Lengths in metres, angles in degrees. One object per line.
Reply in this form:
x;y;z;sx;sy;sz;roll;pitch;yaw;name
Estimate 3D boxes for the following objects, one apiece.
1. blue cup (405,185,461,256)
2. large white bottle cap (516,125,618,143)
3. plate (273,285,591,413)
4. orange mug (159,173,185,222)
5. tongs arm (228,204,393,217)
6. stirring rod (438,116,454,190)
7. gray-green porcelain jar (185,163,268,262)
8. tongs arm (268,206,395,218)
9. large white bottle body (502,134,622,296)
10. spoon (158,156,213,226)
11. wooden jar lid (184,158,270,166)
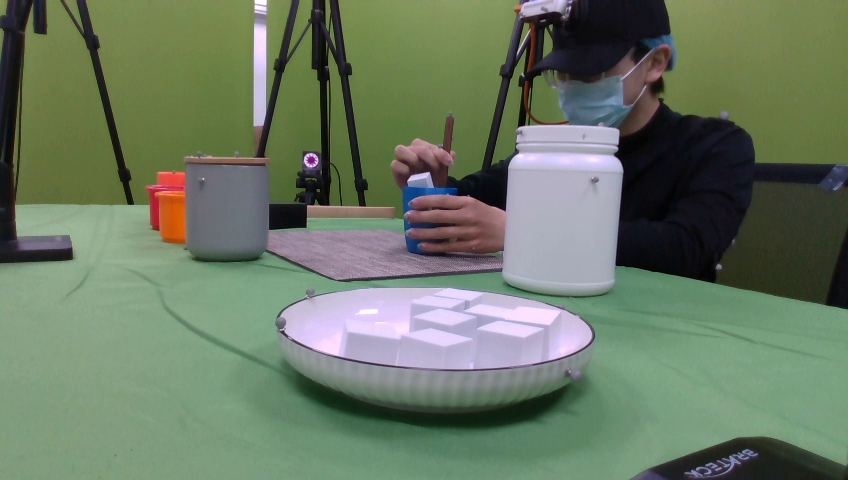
0.010;-0.029;0.919;0.093;0.100;0.092;5;9;0;blue cup
0.163;-0.120;0.695;0.115;0.018;0.115;2;8;0;large white bottle cap
0.005;0.069;0.407;0.208;0.039;0.207;2;7;0;plate
-0.477;-0.089;1.241;0.127;0.101;0.083;-7;11;-33;orange mug
-0.267;-0.070;1.453;0.389;0.027;0.028;0;-1;-18;tongs arm
0.030;-0.102;0.927;0.014;0.176;0.006;9;6;31;stirring rod
-0.263;-0.038;0.808;0.106;0.126;0.106;3;8;0;gray-green porcelain jar
-0.230;-0.064;1.379;0.387;0.026;0.050;-1;3;-31;tongs arm
0.161;-0.037;0.706;0.131;0.184;0.130;2;7;0;large white bottle body
-0.435;-0.094;1.121;0.041;0.022;0.193;5;51;13;spoon
-0.260;-0.099;0.801;0.108;0.020;0.108;0;9;0;wooden jar lid
